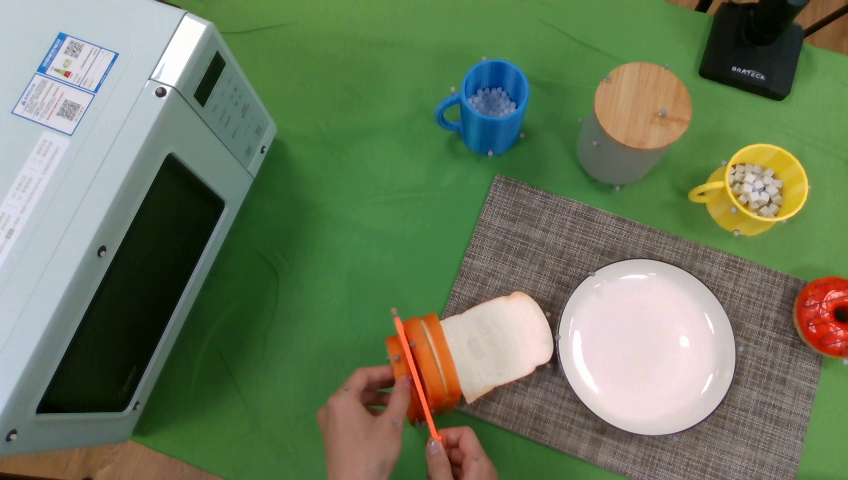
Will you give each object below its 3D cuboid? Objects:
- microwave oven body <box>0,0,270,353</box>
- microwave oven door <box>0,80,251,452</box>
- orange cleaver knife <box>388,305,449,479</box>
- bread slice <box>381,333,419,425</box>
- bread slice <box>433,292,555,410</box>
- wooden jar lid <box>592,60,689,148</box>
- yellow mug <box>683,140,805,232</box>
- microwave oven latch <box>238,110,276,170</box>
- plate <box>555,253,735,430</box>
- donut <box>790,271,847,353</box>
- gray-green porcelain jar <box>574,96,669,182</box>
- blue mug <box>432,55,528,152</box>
[{"bbox_3d":[-0.427,-0.048,0.672,0.325,0.261,0.440,20,78,6],"label":"microwave oven body"},{"bbox_3d":[-0.308,0.040,0.642,0.039,0.245,0.354,20,77,7],"label":"microwave oven door"},{"bbox_3d":[-0.004,0.170,0.634,0.012,0.077,0.211,-17,87,-5],"label":"orange cleaver knife"},{"bbox_3d":[-0.028,0.153,0.684,0.018,0.135,0.106,-15,75,-6],"label":"bread slice"},{"bbox_3d":[0.091,0.127,0.731,0.131,0.019,0.104,-29,86,-6],"label":"bread slice"},{"bbox_3d":[0.243,-0.152,0.688,0.108,0.021,0.108,0,74,1],"label":"wooden jar lid"},{"bbox_3d":[0.393,-0.065,0.758,0.131,0.064,0.099,-3,76,2],"label":"yellow mug"},{"bbox_3d":[-0.221,-0.133,0.786,0.030,0.029,0.079,24,79,7],"label":"microwave oven latch"},{"bbox_3d":[0.259,0.120,0.727,0.207,0.039,0.206,0,76,2],"label":"plate"},{"bbox_3d":[0.490,0.086,0.725,0.099,0.048,0.098,0,77,2],"label":"donut"},{"bbox_3d":[0.246,-0.136,0.748,0.106,0.127,0.105,0,76,2],"label":"gray-green porcelain jar"},{"bbox_3d":[0.068,-0.169,0.772,0.116,0.106,0.082,-5,75,1],"label":"blue mug"}]
